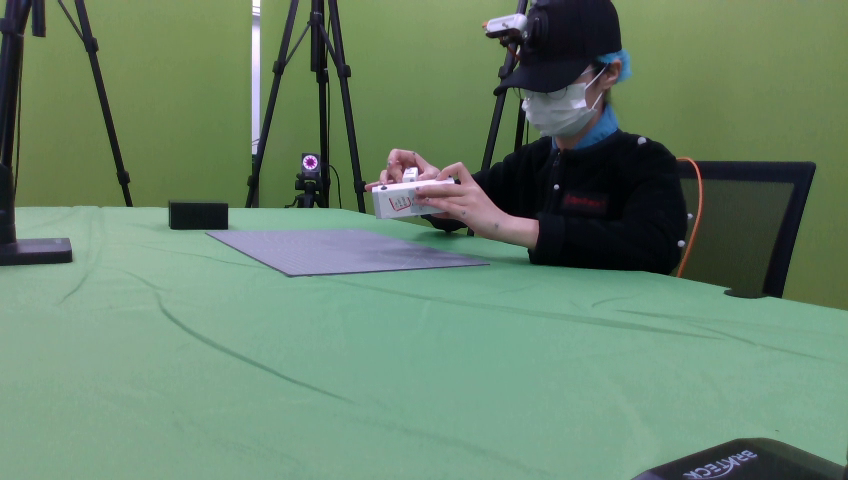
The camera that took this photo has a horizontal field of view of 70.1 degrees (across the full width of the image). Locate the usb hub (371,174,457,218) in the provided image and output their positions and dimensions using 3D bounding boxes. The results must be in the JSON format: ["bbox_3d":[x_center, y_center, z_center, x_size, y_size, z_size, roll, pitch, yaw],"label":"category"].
[{"bbox_3d":[-0.016,-0.067,0.916,0.125,0.049,0.025,-8,28,-1],"label":"usb hub"}]

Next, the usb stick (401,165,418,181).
[{"bbox_3d":[-0.023,-0.095,0.940,0.021,0.027,0.059,-2,30,6],"label":"usb stick"}]
